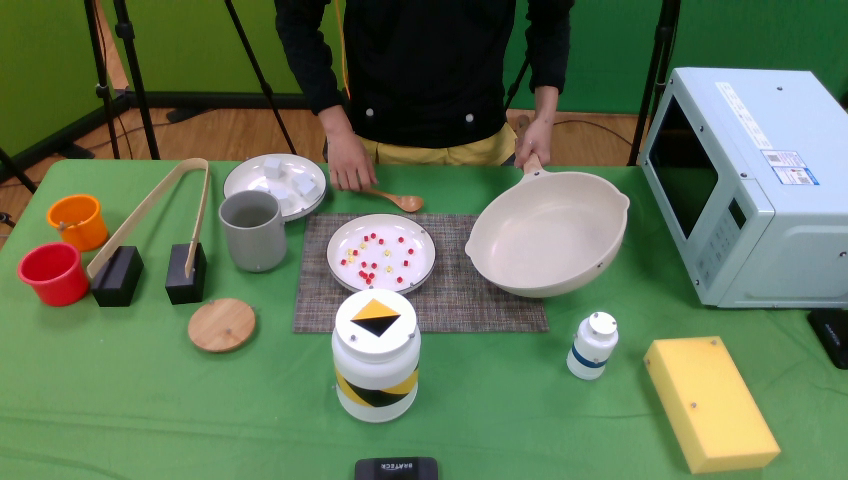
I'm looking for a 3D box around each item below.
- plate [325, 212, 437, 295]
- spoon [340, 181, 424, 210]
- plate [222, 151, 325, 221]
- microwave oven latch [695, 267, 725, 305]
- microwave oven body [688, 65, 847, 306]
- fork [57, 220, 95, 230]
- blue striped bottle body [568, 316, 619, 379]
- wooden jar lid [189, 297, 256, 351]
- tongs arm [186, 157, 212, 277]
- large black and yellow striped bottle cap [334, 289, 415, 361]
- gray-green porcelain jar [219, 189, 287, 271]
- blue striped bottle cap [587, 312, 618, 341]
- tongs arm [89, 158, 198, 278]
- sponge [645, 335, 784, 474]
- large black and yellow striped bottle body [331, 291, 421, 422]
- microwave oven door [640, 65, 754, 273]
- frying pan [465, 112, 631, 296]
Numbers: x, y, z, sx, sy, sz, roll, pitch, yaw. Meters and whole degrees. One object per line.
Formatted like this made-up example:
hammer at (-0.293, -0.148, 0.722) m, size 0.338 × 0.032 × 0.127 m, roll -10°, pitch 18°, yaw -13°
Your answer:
plate at (-0.080, 0.030, 1.143) m, size 0.209 × 0.038 × 0.208 m, roll 2°, pitch 46°, yaw -2°
spoon at (-0.090, -0.100, 1.282) m, size 0.193 × 0.022 × 0.041 m, roll 18°, pitch 62°, yaw 13°
plate at (-0.310, -0.106, 1.262) m, size 0.208 × 0.039 × 0.206 m, roll 2°, pitch 47°, yaw -2°
microwave oven latch at (0.524, 0.082, 1.115) m, size 0.030 × 0.029 × 0.078 m, roll 4°, pitch 46°, yaw 1°
microwave oven body at (0.669, -0.111, 1.176) m, size 0.326 × 0.261 × 0.439 m, roll 0°, pitch 46°, yaw -3°
fork at (-0.624, -0.027, 1.086) m, size 0.028 × 0.207 × 0.018 m, roll -3°, pitch 92°, yaw -17°
blue striped bottle body at (0.276, 0.168, 0.984) m, size 0.063 × 0.121 × 0.062 m, roll 2°, pitch 46°, yaw -2°
wooden jar lid at (-0.342, 0.145, 1.033) m, size 0.108 × 0.021 × 0.107 m, roll 2°, pitch 45°, yaw -2°
tongs arm at (-0.445, -0.058, 1.168) m, size 0.051 × 0.026 × 0.382 m, roll -5°, pitch 37°, yaw -6°
large black and yellow striped bottle cap at (-0.069, 0.117, 0.850) m, size 0.115 × 0.019 × 0.114 m, roll 2°, pitch 45°, yaw -2°
gray-green porcelain jar at (-0.310, -0.014, 1.113) m, size 0.106 × 0.127 × 0.105 m, roll 2°, pitch 46°, yaw -2°
blue striped bottle cap at (0.279, 0.134, 0.947) m, size 0.044 × 0.021 × 0.044 m, roll 2°, pitch 45°, yaw -2°
tongs arm at (-0.529, -0.057, 1.164) m, size 0.028 × 0.028 × 0.385 m, roll 1°, pitch 36°, yaw 8°
sponge at (0.449, 0.253, 0.956) m, size 0.118 × 0.061 × 0.205 m, roll -4°, pitch 46°, yaw -7°
large black and yellow striped bottle body at (-0.071, 0.175, 0.911) m, size 0.131 × 0.185 × 0.130 m, roll 2°, pitch 47°, yaw -2°
microwave oven door at (0.524, -0.147, 1.193) m, size 0.039 × 0.245 × 0.353 m, roll 0°, pitch 47°, yaw -3°
frying pan at (0.227, -0.090, 1.176) m, size 0.306 × 0.103 × 0.484 m, roll -16°, pitch 49°, yaw 17°
